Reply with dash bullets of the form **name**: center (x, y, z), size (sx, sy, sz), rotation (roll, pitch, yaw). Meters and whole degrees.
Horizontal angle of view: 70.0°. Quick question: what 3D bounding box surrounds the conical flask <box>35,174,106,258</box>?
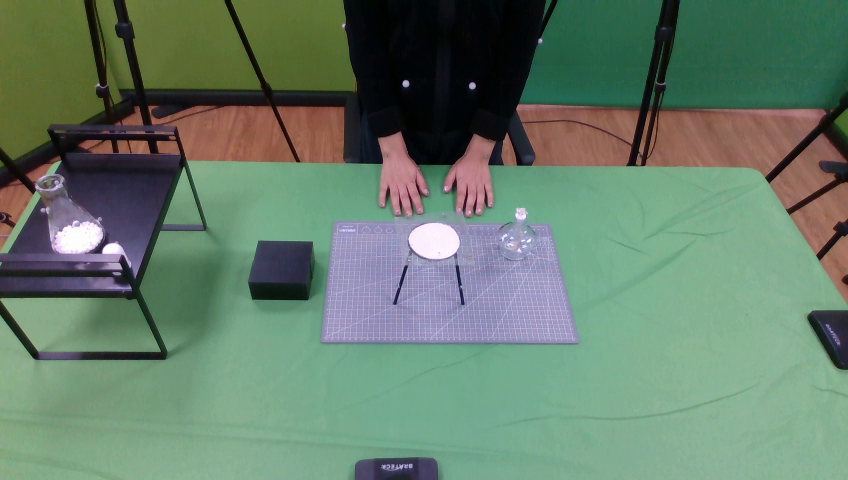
- **conical flask**: center (-0.518, -0.038, 0.875), size (0.075, 0.122, 0.075), rotation (2, 46, -2)

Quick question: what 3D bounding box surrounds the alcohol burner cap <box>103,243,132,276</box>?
- **alcohol burner cap**: center (-0.446, 0.025, 0.875), size (0.034, 0.048, 0.033), rotation (3, 45, -3)

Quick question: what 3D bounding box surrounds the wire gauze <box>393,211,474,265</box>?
- **wire gauze**: center (0.015, -0.003, 1.028), size (0.125, 0.011, 0.120), rotation (-4, 47, -7)

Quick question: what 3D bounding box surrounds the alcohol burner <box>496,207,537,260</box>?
- **alcohol burner**: center (0.179, -0.018, 1.162), size (0.078, 0.120, 0.077), rotation (1, 48, -1)

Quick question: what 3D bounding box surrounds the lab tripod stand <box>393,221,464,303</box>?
- **lab tripod stand**: center (0.010, 0.045, 1.074), size (0.148, 0.132, 0.147), rotation (2, 48, -2)
